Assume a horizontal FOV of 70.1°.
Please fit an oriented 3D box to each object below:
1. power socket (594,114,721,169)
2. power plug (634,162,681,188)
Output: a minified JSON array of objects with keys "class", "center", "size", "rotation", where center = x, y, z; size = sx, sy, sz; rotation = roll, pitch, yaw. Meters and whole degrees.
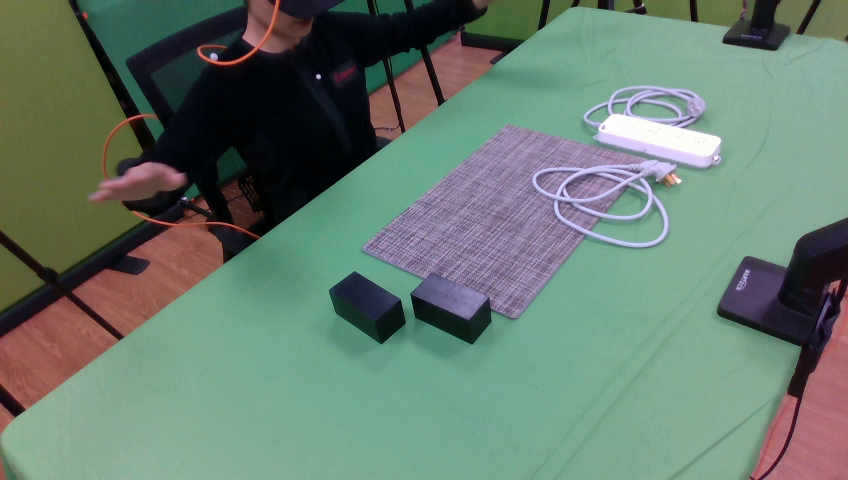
[{"class":"power socket","center":[0.428,-0.183,1.109],"size":[0.225,0.033,0.072],"rotation":[23,49,33]},{"class":"power plug","center":[0.396,-0.102,1.026],"size":[0.072,0.035,0.052],"rotation":[-35,68,-5]}]
